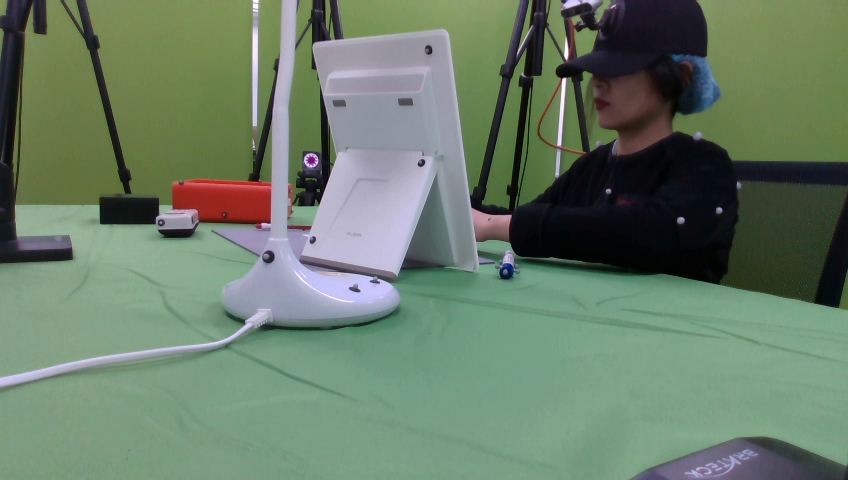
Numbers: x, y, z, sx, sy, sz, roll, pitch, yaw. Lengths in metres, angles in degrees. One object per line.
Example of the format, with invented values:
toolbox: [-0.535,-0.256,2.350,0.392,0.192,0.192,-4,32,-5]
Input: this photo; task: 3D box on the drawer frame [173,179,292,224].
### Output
drawer frame: [-0.400,-0.086,1.300,0.214,0.082,0.201,1,8,-8]

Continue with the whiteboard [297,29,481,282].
whiteboard: [-0.076,-0.082,0.741,0.216,0.305,0.144,9,29,37]

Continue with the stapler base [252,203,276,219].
stapler base: [-0.341,-0.065,1.301,0.041,0.024,0.130,16,4,-11]

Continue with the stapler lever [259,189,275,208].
stapler lever: [-0.335,-0.090,1.300,0.027,0.040,0.118,16,4,-11]

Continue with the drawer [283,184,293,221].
drawer: [-0.396,-0.085,1.301,0.212,0.073,0.194,1,8,-7]

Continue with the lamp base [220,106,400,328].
lamp base: [-0.101,-0.023,0.531,0.160,0.180,0.179,4,10,10]

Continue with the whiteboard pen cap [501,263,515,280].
whiteboard pen cap: [0.105,0.038,0.758,0.018,0.018,0.033,4,10,9]

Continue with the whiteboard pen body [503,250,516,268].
whiteboard pen body: [0.115,0.031,0.815,0.017,0.017,0.141,4,8,9]

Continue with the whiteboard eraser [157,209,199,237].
whiteboard eraser: [-0.411,-0.029,1.016,0.056,0.042,0.112,2,7,-16]

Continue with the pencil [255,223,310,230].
pencil: [-0.216,-0.023,1.134,0.195,0.012,0.012,1,7,-21]
